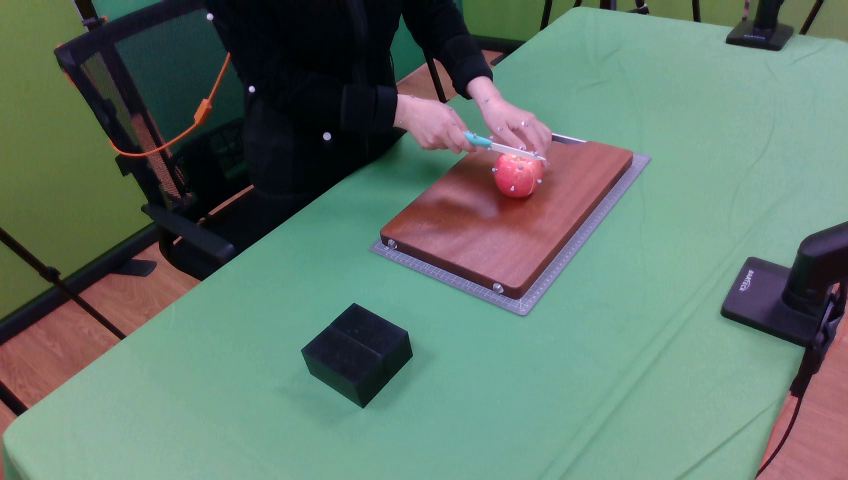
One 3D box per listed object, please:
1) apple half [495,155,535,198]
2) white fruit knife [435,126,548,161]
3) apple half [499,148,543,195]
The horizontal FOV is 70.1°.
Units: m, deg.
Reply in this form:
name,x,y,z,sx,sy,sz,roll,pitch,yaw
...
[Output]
name,x,y,z,sx,sy,sz,roll,pitch,yaw
apple half,0.141,-0.097,0.989,0.080,0.081,0.033,26,49,34
white fruit knife,0.105,-0.155,0.975,0.206,0.027,0.016,19,75,26
apple half,0.167,-0.118,1.010,0.080,0.075,0.053,22,47,37
